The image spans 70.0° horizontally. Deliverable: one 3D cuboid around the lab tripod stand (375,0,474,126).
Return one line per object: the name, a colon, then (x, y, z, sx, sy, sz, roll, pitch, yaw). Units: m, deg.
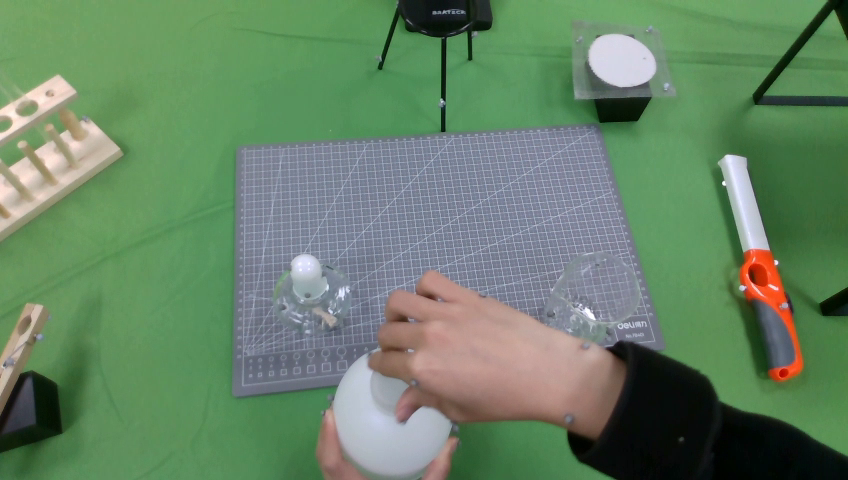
lab tripod stand: (0.010, -0.233, 0.727, 0.148, 0.132, 0.147, 2, 65, -5)

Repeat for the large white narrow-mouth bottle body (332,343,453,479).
large white narrow-mouth bottle body: (-0.027, 0.142, 0.510, 0.102, 0.196, 0.101, 1, 63, -3)

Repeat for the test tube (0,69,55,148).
test tube: (-0.420, -0.144, 0.624, 0.017, 0.151, 0.017, 0, 62, 0)

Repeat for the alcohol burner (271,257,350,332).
alcohol burner: (-0.112, 0.046, 0.591, 0.078, 0.120, 0.077, 3, 62, -5)

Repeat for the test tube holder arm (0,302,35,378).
test tube holder arm: (-0.373, 0.099, 0.551, 0.010, 0.015, 0.087, 5, 64, 6)

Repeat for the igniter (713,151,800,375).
igniter: (0.376, 0.017, 0.690, 0.057, 0.025, 0.274, 5, 64, -13)

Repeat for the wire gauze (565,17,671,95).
wire gauze: (0.239, -0.229, 0.756, 0.121, 0.011, 0.124, 2, 64, -3)

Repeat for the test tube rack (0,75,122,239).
test tube rack: (-0.456, -0.062, 0.637, 0.066, 0.086, 0.242, 41, 68, 15)

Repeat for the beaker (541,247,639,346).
beaker: (0.159, 0.062, 0.611, 0.084, 0.101, 0.073, -3, 64, -4)

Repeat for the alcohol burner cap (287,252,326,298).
alcohol burner cap: (-0.110, 0.030, 0.559, 0.034, 0.048, 0.033, 0, 59, 0)

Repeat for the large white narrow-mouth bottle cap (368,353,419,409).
large white narrow-mouth bottle cap: (-0.022, 0.098, 0.425, 0.038, 0.024, 0.037, 2, 64, -3)

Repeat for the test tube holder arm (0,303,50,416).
test tube holder arm: (-0.374, 0.140, 0.532, 0.013, 0.015, 0.177, 7, 64, 6)
